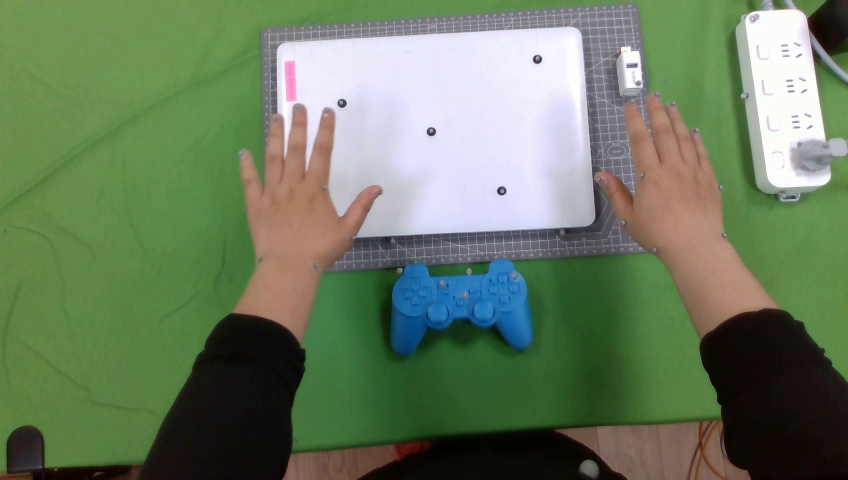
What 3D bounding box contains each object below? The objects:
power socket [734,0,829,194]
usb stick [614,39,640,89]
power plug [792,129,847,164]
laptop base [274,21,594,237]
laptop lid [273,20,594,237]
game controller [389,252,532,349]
[{"bbox_3d":[0.400,-0.165,0.681,0.072,0.033,0.226,-3,81,2],"label":"power socket"},{"bbox_3d":[0.231,-0.205,0.692,0.021,0.027,0.059,-4,79,3],"label":"usb stick"},{"bbox_3d":[0.433,-0.097,0.649,0.072,0.053,0.035,9,81,-1],"label":"power plug"},{"bbox_3d":[0.007,-0.128,0.694,0.354,0.023,0.235,-3,84,1],"label":"laptop base"},{"bbox_3d":[0.006,-0.127,0.682,0.357,0.013,0.241,-2,83,2],"label":"laptop lid"},{"bbox_3d":[0.038,0.064,0.650,0.155,0.052,0.096,-3,76,1],"label":"game controller"}]
